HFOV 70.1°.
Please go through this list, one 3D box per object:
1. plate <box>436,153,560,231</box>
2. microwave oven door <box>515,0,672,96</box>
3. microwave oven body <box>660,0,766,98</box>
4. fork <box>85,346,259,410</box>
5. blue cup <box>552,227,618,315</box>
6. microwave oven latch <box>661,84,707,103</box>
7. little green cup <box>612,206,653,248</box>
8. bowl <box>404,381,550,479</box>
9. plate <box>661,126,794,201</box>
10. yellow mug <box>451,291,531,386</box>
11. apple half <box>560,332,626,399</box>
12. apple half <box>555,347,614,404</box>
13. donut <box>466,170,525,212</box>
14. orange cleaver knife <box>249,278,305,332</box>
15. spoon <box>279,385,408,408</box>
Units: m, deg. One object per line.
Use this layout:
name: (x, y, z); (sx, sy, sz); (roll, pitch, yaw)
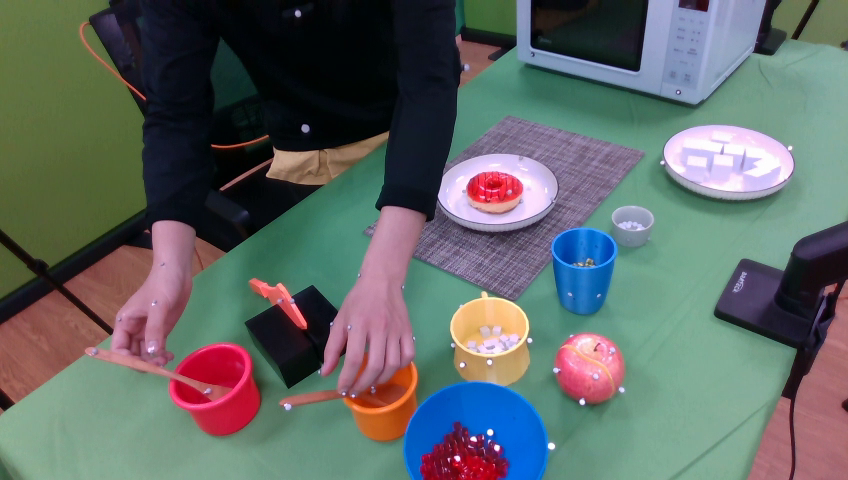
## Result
plate: (0.125, -0.078, 1.029); (0.209, 0.038, 0.208); (-4, 40, 4)
microwave oven door: (0.344, -0.454, 1.259); (0.353, 0.245, 0.039); (26, 51, 33)
microwave oven body: (0.473, -0.513, 1.317); (0.438, 0.261, 0.327); (26, 51, 34)
fork: (-0.298, 0.166, 0.728); (0.209, 0.018, 0.028); (28, 48, -24)
blue cup: (0.218, 0.047, 0.825); (0.092, 0.101, 0.092); (-6, 39, 6)
microwave oven latch: (0.516, -0.296, 1.204); (0.078, 0.029, 0.030); (25, 51, 33)
little green cup: (0.321, -0.019, 0.936); (0.061, 0.039, 0.061); (-4, 40, 4)
bowl: (0.058, 0.235, 0.645); (0.151, 0.077, 0.150); (-4, 39, 4)
plate: (0.513, -0.127, 1.035); (0.207, 0.039, 0.206); (-4, 40, 4)
yellow mug: (0.086, 0.120, 0.786); (0.100, 0.064, 0.130); (-7, 39, 1)
apple half: (0.209, 0.147, 0.730); (0.080, 0.075, 0.053); (27, 48, 38)
apple half: (0.180, 0.168, 0.708); (0.080, 0.081, 0.033); (29, 54, 35)
donut: (0.121, -0.083, 1.019); (0.099, 0.048, 0.098); (-4, 38, 3)
orange cleaver knife: (-0.210, 0.089, 0.856); (0.012, 0.077, 0.210); (-28, 14, -25)
spoon: (-0.085, 0.177, 0.682); (0.041, 0.195, 0.021); (34, 99, 37)
